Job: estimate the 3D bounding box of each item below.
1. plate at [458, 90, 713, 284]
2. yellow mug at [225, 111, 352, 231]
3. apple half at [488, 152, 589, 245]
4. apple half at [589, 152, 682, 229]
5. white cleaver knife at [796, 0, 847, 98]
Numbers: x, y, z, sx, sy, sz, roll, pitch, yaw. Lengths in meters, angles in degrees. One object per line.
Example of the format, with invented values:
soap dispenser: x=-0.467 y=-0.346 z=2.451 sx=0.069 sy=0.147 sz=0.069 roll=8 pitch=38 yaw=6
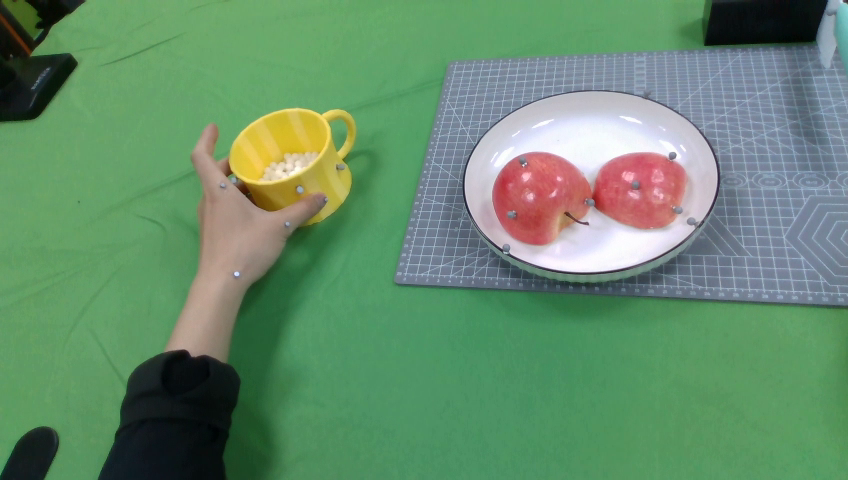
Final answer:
plate: x=0.133 y=-0.047 z=0.521 sx=0.209 sy=0.038 sz=0.207 roll=-6 pitch=53 yaw=9
yellow mug: x=-0.121 y=-0.078 z=0.593 sx=0.099 sy=0.064 sz=0.130 roll=34 pitch=67 yaw=32
apple half: x=0.094 y=-0.043 z=0.508 sx=0.081 sy=0.054 sz=0.074 roll=-34 pitch=51 yaw=-11
apple half: x=0.175 y=-0.050 z=0.504 sx=0.081 sy=0.033 sz=0.080 roll=-6 pitch=55 yaw=10
white cleaver knife: x=0.373 y=-0.201 z=0.560 sx=0.021 sy=0.066 sz=0.284 roll=0 pitch=50 yaw=19
